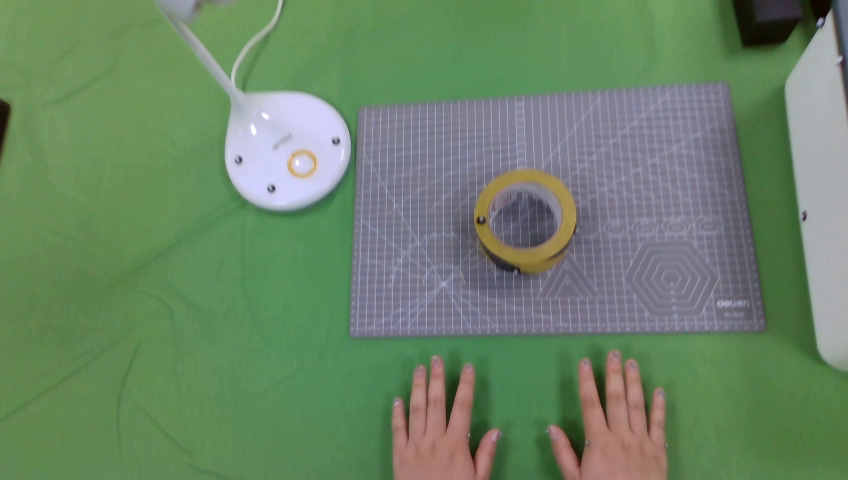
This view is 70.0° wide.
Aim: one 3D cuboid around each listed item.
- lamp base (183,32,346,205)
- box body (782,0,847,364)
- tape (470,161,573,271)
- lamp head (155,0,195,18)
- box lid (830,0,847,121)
[{"bbox_3d":[-0.196,-0.147,0.688,0.178,0.181,0.160,37,82,19],"label":"lamp base"},{"bbox_3d":[0.510,-0.060,0.574,0.254,0.161,0.362,0,74,8],"label":"box body"},{"bbox_3d":[0.108,-0.027,0.676,0.117,0.053,0.116,-2,74,7],"label":"tape"},{"bbox_3d":[-0.187,-0.228,0.401,0.124,0.112,0.112,30,78,-19],"label":"lamp head"},{"bbox_3d":[0.501,-0.083,0.505,0.263,0.015,0.369,0,75,8],"label":"box lid"}]
